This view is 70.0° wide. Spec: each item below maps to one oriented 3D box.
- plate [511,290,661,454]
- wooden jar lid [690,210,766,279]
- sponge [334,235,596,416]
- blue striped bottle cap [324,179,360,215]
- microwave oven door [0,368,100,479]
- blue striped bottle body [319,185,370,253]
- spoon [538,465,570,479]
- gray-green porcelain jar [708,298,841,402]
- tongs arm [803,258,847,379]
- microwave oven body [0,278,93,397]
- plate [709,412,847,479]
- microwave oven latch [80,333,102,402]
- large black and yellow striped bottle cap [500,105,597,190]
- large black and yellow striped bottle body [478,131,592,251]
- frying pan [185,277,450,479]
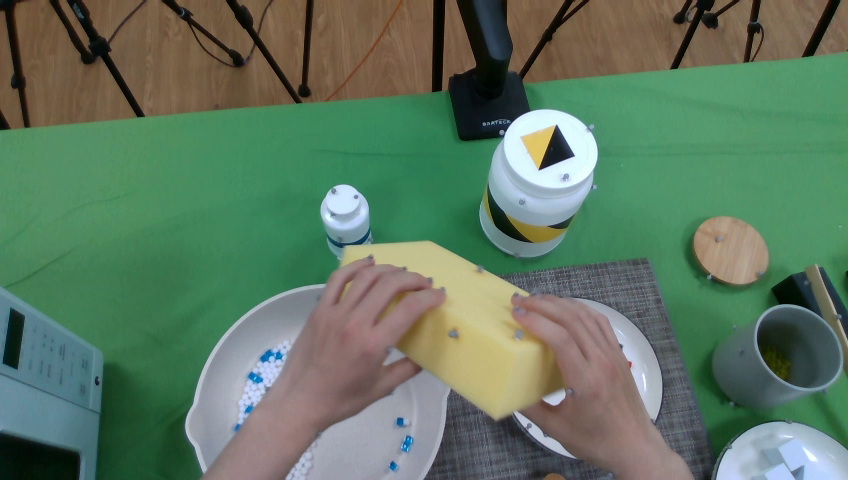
[{"bbox_3d":[0.195,0.167,0.778,0.209,0.038,0.207,1,66,-2],"label":"plate"},{"bbox_3d":[0.437,0.008,0.877,0.108,0.021,0.107,1,67,-2],"label":"wooden jar lid"},{"bbox_3d":[0.031,0.063,0.544,0.205,0.061,0.119,30,22,36],"label":"sponge"},{"bbox_3d":[-0.104,-0.055,0.763,0.044,0.021,0.044,0,63,-1],"label":"blue striped bottle cap"},{"bbox_3d":[-0.377,0.310,0.553,0.039,0.245,0.353,-7,66,-5],"label":"microwave oven door"},{"bbox_3d":[-0.105,-0.034,0.810,0.063,0.121,0.062,1,65,-3],"label":"blue striped bottle body"},{"bbox_3d":[0.217,0.332,0.715,0.193,0.022,0.041,32,50,9],"label":"spoon"},{"bbox_3d":[0.428,0.142,0.757,0.106,0.127,0.105,1,65,-2],"label":"gray-green porcelain jar"},{"bbox_3d":[0.568,0.202,0.757,0.051,0.026,0.382,-11,77,-10],"label":"tongs arm"},{"bbox_3d":[-0.528,0.289,0.559,0.326,0.262,0.438,-6,67,-6],"label":"microwave oven body"},{"bbox_3d":[0.443,0.315,0.730,0.208,0.039,0.206,1,65,-3],"label":"plate"},{"bbox_3d":[-0.408,0.155,0.733,0.030,0.030,0.078,-6,67,-6],"label":"microwave oven latch"},{"bbox_3d":[0.150,-0.113,0.732,0.115,0.019,0.114,1,64,-2],"label":"large black and yellow striped bottle cap"},{"bbox_3d":[0.146,-0.078,0.810,0.131,0.185,0.129,1,65,-2],"label":"large black and yellow striped bottle body"},{"bbox_3d":[-0.104,0.277,0.677,0.307,0.103,0.483,-8,58,-4],"label":"frying pan"}]
